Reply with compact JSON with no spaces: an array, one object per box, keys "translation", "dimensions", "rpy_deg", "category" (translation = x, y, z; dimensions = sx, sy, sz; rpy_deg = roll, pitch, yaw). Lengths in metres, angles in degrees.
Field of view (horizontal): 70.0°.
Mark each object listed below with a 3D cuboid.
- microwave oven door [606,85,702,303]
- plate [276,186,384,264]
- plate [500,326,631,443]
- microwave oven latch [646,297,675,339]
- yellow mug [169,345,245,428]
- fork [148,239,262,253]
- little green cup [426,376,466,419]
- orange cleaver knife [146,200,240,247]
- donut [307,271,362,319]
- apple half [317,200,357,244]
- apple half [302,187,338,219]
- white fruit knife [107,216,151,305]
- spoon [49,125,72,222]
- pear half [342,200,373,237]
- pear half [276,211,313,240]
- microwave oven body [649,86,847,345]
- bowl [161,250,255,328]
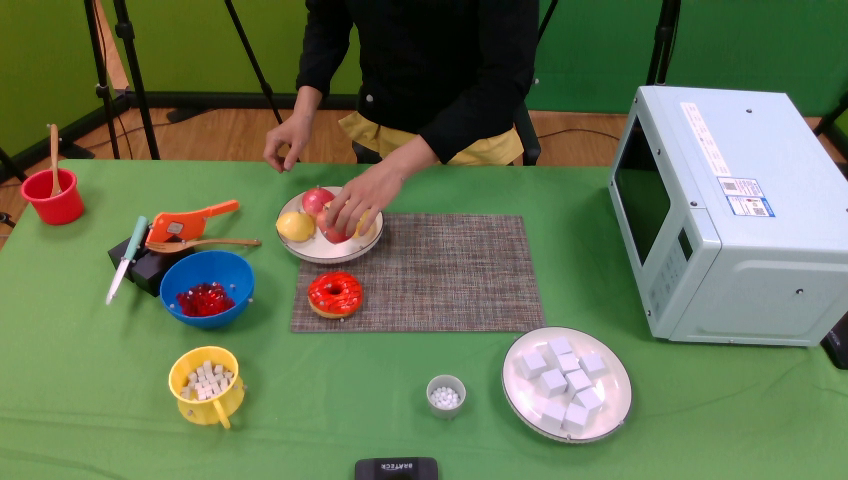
[{"translation":[0.423,-0.094,1.140],"dimensions":[0.039,0.245,0.353],"rpy_deg":[2,46,-1],"category":"microwave oven door"},{"translation":[-0.184,-0.027,1.195],"dimensions":[0.209,0.038,0.208],"rpy_deg":[2,46,-2],"category":"plate"},{"translation":[0.224,0.234,0.978],"dimensions":[0.208,0.039,0.206],"rpy_deg":[2,46,-2],"category":"plate"},{"translation":[0.412,0.134,1.061],"dimensions":[0.030,0.029,0.078],"rpy_deg":[4,45,1],"category":"microwave oven latch"},{"translation":[-0.322,0.230,0.922],"dimensions":[0.100,0.064,0.130],"rpy_deg":[-24,53,-25],"category":"yellow mug"},{"translation":[-0.398,0.008,1.117],"dimensions":[0.208,0.019,0.028],"rpy_deg":[-5,35,-37],"category":"fork"},{"translation":[0.033,0.248,0.950],"dimensions":[0.061,0.039,0.061],"rpy_deg":[2,46,-2],"category":"little green cup"},{"translation":[-0.435,-0.033,1.157],"dimensions":[0.012,0.077,0.211],"rpy_deg":[31,26,18],"category":"orange cleaver knife"},{"translation":[-0.157,0.097,1.073],"dimensions":[0.099,0.048,0.098],"rpy_deg":[4,45,-4],"category":"donut"},{"translation":[-0.152,-0.036,1.113],"dimensions":[0.053,0.075,0.080],"rpy_deg":[-17,20,20],"category":"apple half"},{"translation":[-0.204,-0.077,1.216],"dimensions":[0.081,0.033,0.081],"rpy_deg":[19,46,-21],"category":"apple half"},{"translation":[-0.518,0.032,1.066],"dimensions":[0.027,0.016,0.206],"rpy_deg":[-18,45,19],"category":"white fruit knife"},{"translation":[-0.717,-0.131,1.189],"dimensions":[0.041,0.021,0.193],"rpy_deg":[-3,90,-6],"category":"spoon"},{"translation":[-0.147,-0.059,1.210],"dimensions":[0.076,0.056,0.109],"rpy_deg":[-16,43,-25],"category":"pear half"},{"translation":[-0.244,-0.036,1.179],"dimensions":[0.070,0.031,0.088],"rpy_deg":[42,39,1],"category":"pear half"},{"translation":[0.567,-0.053,1.118],"dimensions":[0.326,0.261,0.439],"rpy_deg":[2,45,-1],"category":"microwave oven body"},{"translation":[-0.362,0.097,1.040],"dimensions":[0.151,0.077,0.150],"rpy_deg":[2,45,-2],"category":"bowl"}]
